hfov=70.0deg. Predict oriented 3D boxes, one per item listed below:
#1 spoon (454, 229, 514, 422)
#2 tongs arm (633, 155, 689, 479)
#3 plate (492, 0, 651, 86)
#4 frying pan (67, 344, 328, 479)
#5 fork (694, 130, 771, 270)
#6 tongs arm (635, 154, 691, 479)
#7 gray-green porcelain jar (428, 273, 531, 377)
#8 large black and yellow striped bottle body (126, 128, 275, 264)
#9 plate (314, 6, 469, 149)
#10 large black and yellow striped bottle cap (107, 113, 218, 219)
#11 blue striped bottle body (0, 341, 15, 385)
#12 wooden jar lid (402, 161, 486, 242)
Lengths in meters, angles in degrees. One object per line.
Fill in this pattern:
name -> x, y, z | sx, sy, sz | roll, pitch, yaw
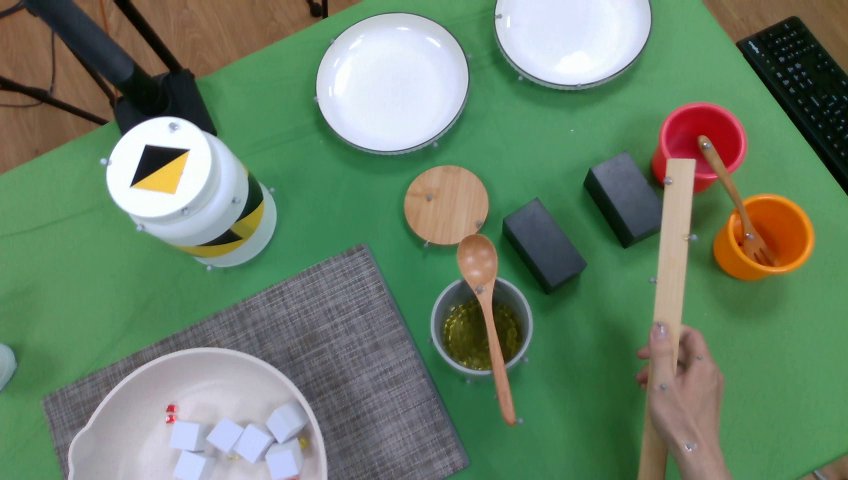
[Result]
spoon -> 0.064, 0.084, 0.607 | 0.041, 0.022, 0.192 | -9, 78, -3
tongs arm -> 0.243, 0.107, 0.626 | 0.027, 0.028, 0.388 | 4, 99, 16
plate -> 0.195, -0.298, 0.816 | 0.209, 0.038, 0.208 | -1, 75, 5
frying pan -> -0.274, 0.359, 0.645 | 0.306, 0.103, 0.485 | 13, 68, 10
fork -> 0.345, -0.042, 0.675 | 0.028, 0.018, 0.209 | -39, 119, 2
tongs arm -> 0.235, 0.110, 0.605 | 0.026, 0.051, 0.385 | 5, 95, 19
gray-green porcelain jar -> 0.062, 0.098, 0.676 | 0.106, 0.127, 0.105 | -1, 74, 5
large black and yellow striped bottle body -> -0.268, -0.054, 0.719 | 0.130, 0.185, 0.130 | -1, 74, 5
plate -> -0.043, -0.215, 0.817 | 0.207, 0.039, 0.206 | -1, 75, 5
large black and yellow striped bottle cap -> -0.276, -0.079, 0.638 | 0.115, 0.019, 0.114 | -1, 76, 5
blue striped bottle body -> -0.562, 0.144, 0.724 | 0.063, 0.121, 0.062 | -1, 74, 5
wooden jar lid -> 0.026, -0.048, 0.775 | 0.108, 0.021, 0.108 | -1, 76, 5
